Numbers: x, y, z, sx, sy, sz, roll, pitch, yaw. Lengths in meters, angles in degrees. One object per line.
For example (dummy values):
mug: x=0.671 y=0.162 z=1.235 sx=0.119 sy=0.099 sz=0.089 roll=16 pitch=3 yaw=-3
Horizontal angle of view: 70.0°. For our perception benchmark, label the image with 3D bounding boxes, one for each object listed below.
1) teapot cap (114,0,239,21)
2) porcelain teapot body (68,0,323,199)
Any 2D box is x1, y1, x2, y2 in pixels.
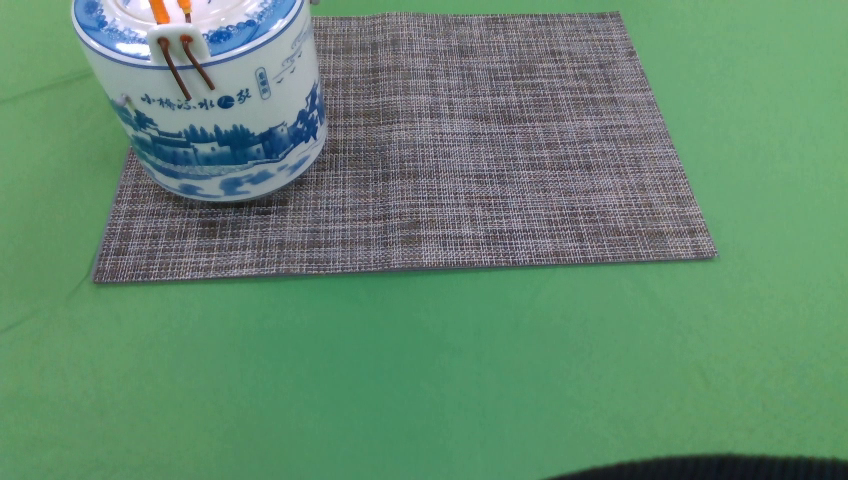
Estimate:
teapot cap: x=-0.150 y=-0.165 z=0.370 sx=0.085 sy=0.044 sz=0.084 roll=0 pitch=56 yaw=0
porcelain teapot body: x=-0.155 y=-0.165 z=0.418 sx=0.145 sy=0.227 sz=0.203 roll=-8 pitch=56 yaw=-7
